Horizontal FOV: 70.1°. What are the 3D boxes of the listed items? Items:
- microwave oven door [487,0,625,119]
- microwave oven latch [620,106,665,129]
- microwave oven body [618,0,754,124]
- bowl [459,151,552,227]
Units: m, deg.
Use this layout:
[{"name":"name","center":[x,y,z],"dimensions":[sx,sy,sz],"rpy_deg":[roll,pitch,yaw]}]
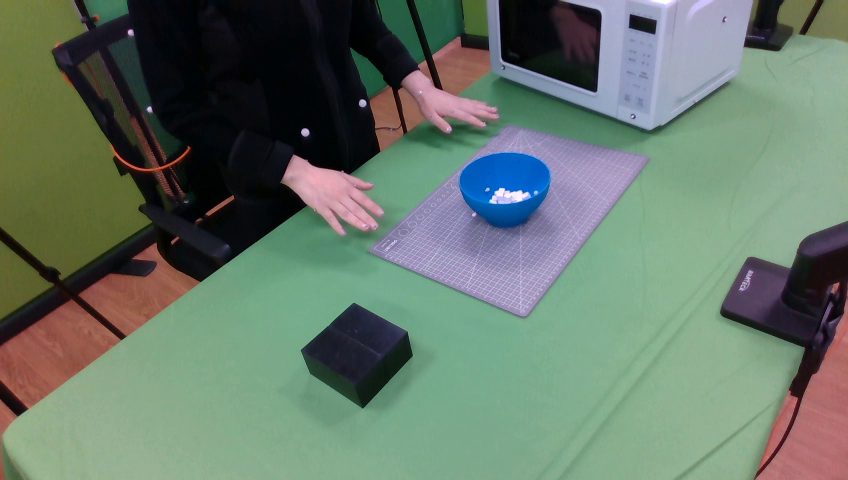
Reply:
[{"name":"microwave oven door","center":[0.262,-0.409,1.221],"dimensions":[0.039,0.245,0.352],"rpy_deg":[-33,45,-25]},{"name":"microwave oven latch","center":[0.412,-0.237,1.146],"dimensions":[0.030,0.029,0.078],"rpy_deg":[-32,44,-23]},{"name":"microwave oven body","center":[0.402,-0.458,1.259],"dimensions":[0.327,0.261,0.437],"rpy_deg":[-33,45,-24]},{"name":"bowl","center":[0.136,-0.074,1.000],"dimensions":[0.151,0.077,0.150],"rpy_deg":[-5,40,5]}]
